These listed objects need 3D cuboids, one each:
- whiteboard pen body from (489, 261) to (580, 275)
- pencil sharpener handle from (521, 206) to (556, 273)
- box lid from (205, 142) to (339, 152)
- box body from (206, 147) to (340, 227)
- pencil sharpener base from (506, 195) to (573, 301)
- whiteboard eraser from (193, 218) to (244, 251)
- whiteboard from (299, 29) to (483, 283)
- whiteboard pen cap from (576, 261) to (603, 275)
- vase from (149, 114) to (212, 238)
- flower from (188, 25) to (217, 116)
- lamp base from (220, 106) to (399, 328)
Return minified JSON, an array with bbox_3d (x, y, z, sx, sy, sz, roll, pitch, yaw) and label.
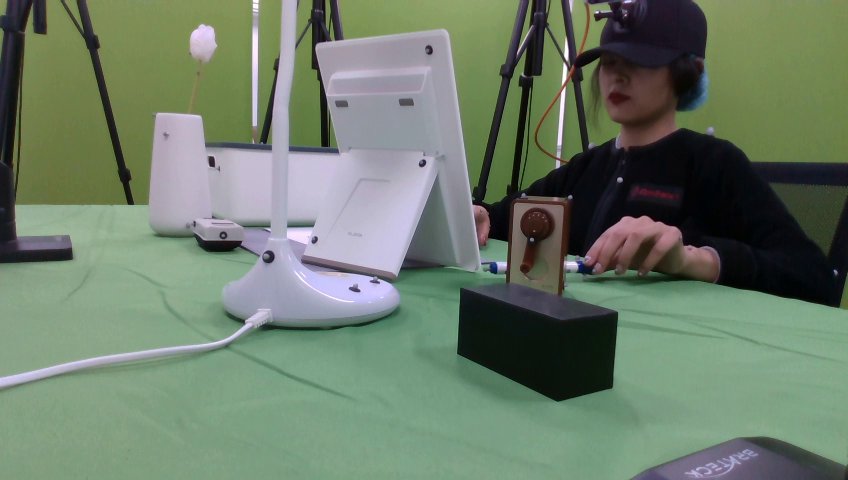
[{"bbox_3d":[0.148,0.036,0.748,0.141,0.017,0.017,1,8,-16],"label":"whiteboard pen body"},{"bbox_3d":[0.111,0.000,0.613,0.036,0.067,0.031,13,10,14],"label":"pencil sharpener handle"},{"bbox_3d":[-0.270,-0.196,1.311,0.373,0.015,0.262,-2,9,-30],"label":"box lid"},{"bbox_3d":[-0.276,-0.122,1.320,0.366,0.160,0.253,-2,9,-30],"label":"box body"},{"bbox_3d":[0.127,0.007,0.663,0.061,0.107,0.077,5,8,15],"label":"pencil sharpener base"},{"bbox_3d":[-0.307,-0.009,0.900,0.056,0.042,0.112,-4,10,-28],"label":"whiteboard eraser"},{"bbox_3d":[-0.074,-0.082,0.742,0.216,0.305,0.144,9,29,38],"label":"whiteboard"},{"bbox_3d":[0.207,0.035,0.764,0.033,0.018,0.018,-2,8,-12],"label":"whiteboard pen cap"},{"bbox_3d":[-0.405,-0.106,1.005,0.098,0.200,0.098,2,6,0],"label":"vase"},{"bbox_3d":[-0.394,-0.189,1.011,0.044,0.361,0.038,-1,-13,27],"label":"flower"},{"bbox_3d":[-0.102,-0.023,0.531,0.160,0.180,0.179,4,10,10],"label":"lamp base"}]
